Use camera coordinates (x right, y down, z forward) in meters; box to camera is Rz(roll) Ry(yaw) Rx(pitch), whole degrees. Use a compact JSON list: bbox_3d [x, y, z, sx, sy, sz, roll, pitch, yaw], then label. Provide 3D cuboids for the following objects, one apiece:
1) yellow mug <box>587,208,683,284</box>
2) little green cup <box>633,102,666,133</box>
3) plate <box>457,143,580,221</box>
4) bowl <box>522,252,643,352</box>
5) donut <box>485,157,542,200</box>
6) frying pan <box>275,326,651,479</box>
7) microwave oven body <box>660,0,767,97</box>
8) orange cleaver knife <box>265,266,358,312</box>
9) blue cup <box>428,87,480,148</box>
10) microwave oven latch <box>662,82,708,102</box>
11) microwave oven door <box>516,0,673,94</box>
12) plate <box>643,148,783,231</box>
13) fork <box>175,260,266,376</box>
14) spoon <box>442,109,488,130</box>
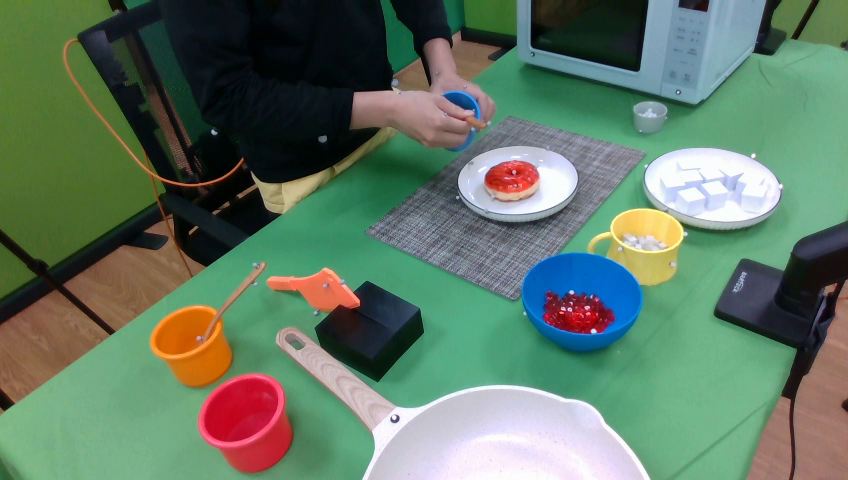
[{"bbox_3d":[0.305,0.009,0.884,0.131,0.064,0.099,-4,41,5],"label":"yellow mug"},{"bbox_3d":[0.434,-0.237,1.171,0.061,0.039,0.061,-5,40,5],"label":"little green cup"},{"bbox_3d":[0.162,-0.097,1.042,0.209,0.038,0.208,-4,40,4],"label":"plate"},{"bbox_3d":[0.204,0.093,0.791,0.151,0.077,0.150,-4,40,4],"label":"bowl"},{"bbox_3d":[0.153,-0.108,1.039,0.099,0.048,0.098,-6,37,5],"label":"donut"},{"bbox_3d":[0.003,0.229,0.641,0.484,0.103,0.308,34,54,28],"label":"frying pan"},{"bbox_3d":[0.474,-0.516,1.313,0.438,0.261,0.327,26,51,34],"label":"microwave oven body"},{"bbox_3d":[-0.164,0.073,0.864,0.210,0.077,0.012,-6,30,50],"label":"orange cleaver knife"},{"bbox_3d":[0.054,-0.197,1.021,0.092,0.100,0.092,-1,85,6],"label":"blue cup"},{"bbox_3d":[0.518,-0.299,1.203,0.078,0.029,0.030,29,53,36],"label":"microwave oven latch"},{"bbox_3d":[0.344,-0.458,1.256,0.353,0.245,0.039,26,52,33],"label":"microwave oven door"},{"bbox_3d":[0.465,-0.080,0.985,0.207,0.039,0.206,-4,41,4],"label":"plate"},{"bbox_3d":[-0.268,0.103,0.792,0.207,0.019,0.028,-51,41,16],"label":"fork"},{"bbox_3d":[0.064,-0.190,0.947,0.042,0.022,0.192,-14,17,-7],"label":"spoon"}]
